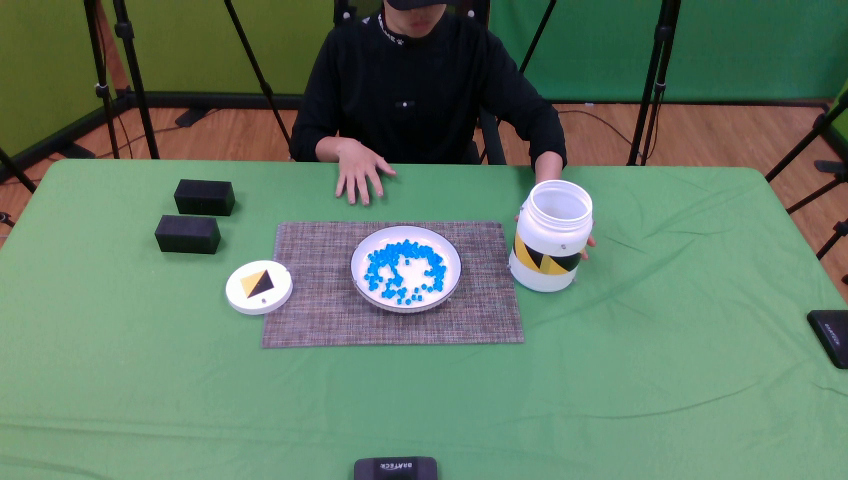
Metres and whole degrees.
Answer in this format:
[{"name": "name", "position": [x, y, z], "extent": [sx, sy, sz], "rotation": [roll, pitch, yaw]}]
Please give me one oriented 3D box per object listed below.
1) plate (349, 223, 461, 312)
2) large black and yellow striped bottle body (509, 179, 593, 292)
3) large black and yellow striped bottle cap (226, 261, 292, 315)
[{"name": "plate", "position": [-0.035, 0.054, 1.126], "extent": [0.208, 0.039, 0.206], "rotation": [2, 46, -2]}, {"name": "large black and yellow striped bottle body", "position": [0.232, -0.008, 1.108], "extent": [0.131, 0.185, 0.130], "rotation": [2, 46, -2]}, {"name": "large black and yellow striped bottle cap", "position": [-0.298, 0.085, 1.092], "extent": [0.115, 0.019, 0.114], "rotation": [0, 45, 1]}]
